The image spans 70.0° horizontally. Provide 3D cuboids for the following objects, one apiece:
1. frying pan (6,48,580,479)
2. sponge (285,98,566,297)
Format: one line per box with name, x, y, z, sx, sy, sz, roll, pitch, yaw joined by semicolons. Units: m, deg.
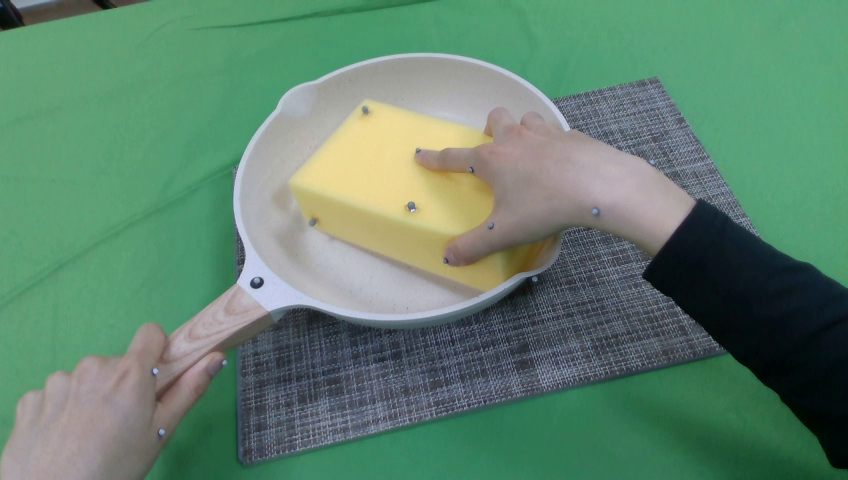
frying pan;-0.087;0.008;0.485;0.304;0.103;0.487;36;58;27
sponge;0.002;-0.045;0.516;0.205;0.061;0.118;19;58;27
